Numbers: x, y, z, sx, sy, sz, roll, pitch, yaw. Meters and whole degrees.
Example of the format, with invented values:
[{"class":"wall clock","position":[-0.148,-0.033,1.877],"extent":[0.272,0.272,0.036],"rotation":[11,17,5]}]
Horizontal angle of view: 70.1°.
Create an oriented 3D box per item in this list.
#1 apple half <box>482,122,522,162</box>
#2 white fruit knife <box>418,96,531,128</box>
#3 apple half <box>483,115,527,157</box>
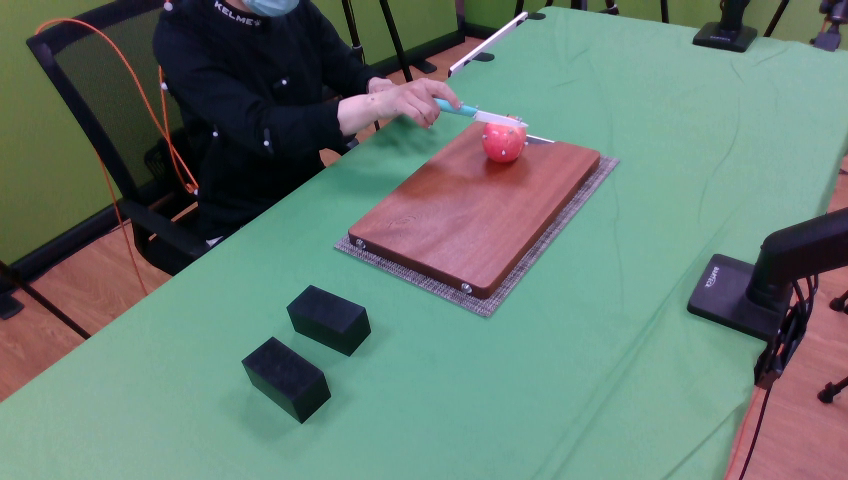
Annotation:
[{"class":"apple half","position":[0.130,-0.165,1.056],"extent":[0.081,0.081,0.033],"rotation":[17,43,26]},{"class":"white fruit knife","position":[0.085,-0.221,1.049],"extent":[0.206,0.027,0.016],"rotation":[16,59,16]},{"class":"apple half","position":[0.149,-0.188,1.082],"extent":[0.080,0.075,0.053],"rotation":[14,41,28]}]
